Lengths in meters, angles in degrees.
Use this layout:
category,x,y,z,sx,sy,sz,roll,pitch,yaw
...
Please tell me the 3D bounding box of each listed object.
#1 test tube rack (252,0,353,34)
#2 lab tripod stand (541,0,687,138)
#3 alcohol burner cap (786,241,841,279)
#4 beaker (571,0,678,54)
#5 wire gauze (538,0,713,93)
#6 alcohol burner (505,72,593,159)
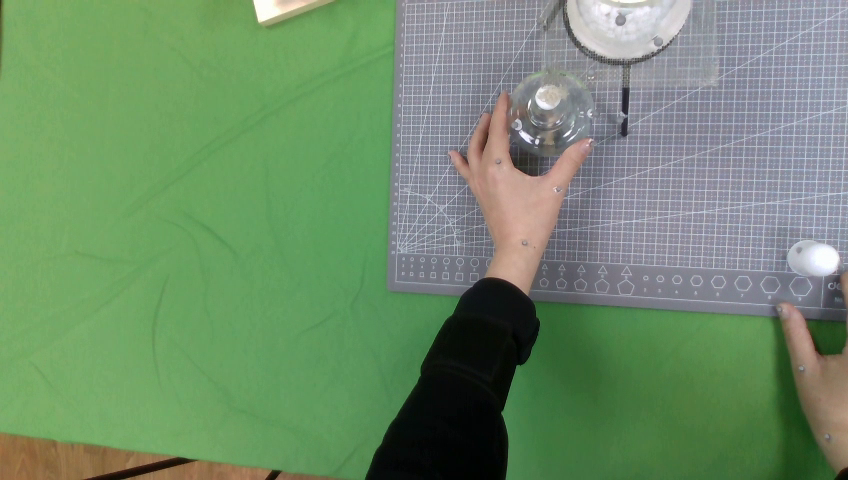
category,x,y,z,sx,sy,sz,roll,pitch,yaw
test tube rack,-0.078,-0.286,0.590,0.242,0.085,0.066,-15,87,14
lab tripod stand,0.163,-0.167,0.504,0.148,0.132,0.148,0,92,13
alcohol burner cap,0.331,0.017,0.512,0.034,0.048,0.034,0,90,14
beaker,0.129,-0.169,0.395,0.083,0.100,0.074,16,95,14
wire gauze,0.146,-0.168,0.440,0.125,0.011,0.121,2,95,11
alcohol burner,0.108,-0.112,0.529,0.078,0.119,0.078,0,90,12
